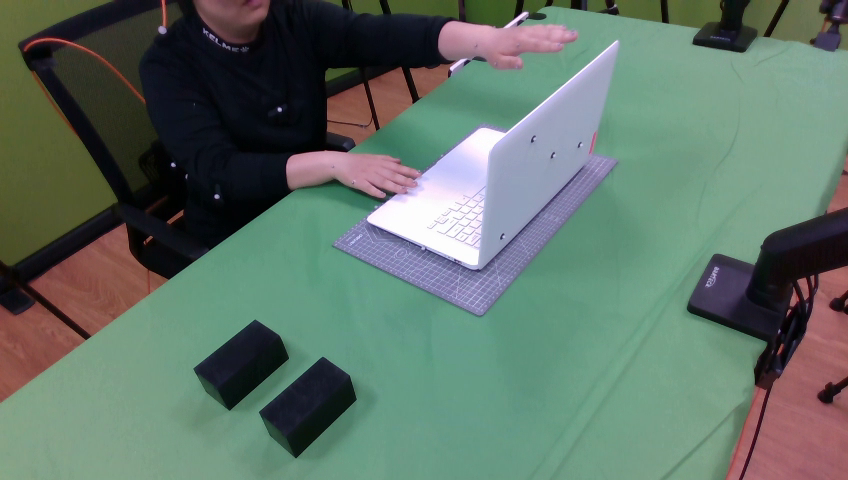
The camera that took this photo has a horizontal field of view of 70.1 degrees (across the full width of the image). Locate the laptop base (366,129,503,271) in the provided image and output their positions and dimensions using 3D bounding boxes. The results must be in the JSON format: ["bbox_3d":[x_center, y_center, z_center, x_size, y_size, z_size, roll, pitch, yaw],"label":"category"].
[{"bbox_3d":[0.099,-0.085,1.058,0.233,0.023,0.355,21,48,34],"label":"laptop base"}]

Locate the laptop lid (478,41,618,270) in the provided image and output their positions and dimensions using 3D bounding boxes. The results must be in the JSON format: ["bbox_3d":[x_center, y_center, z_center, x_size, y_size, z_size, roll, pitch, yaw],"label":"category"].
[{"bbox_3d":[0.191,-0.130,0.912,0.013,0.242,0.358,29,50,26],"label":"laptop lid"}]
